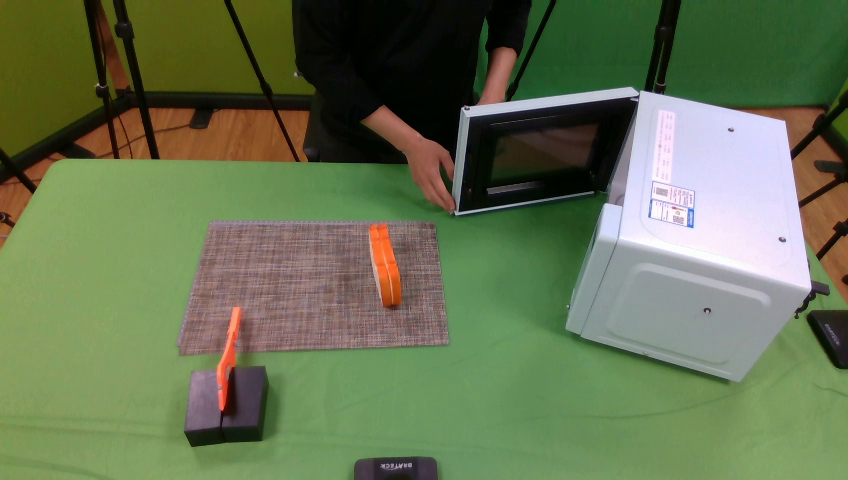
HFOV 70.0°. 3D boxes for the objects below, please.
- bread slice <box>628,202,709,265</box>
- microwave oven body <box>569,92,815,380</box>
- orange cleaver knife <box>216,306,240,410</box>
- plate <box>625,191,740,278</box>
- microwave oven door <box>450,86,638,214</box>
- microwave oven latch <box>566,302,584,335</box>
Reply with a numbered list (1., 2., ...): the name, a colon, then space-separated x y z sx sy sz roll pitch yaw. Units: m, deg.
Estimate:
1. bread slice: 0.476 -0.019 1.170 0.134 0.018 0.106 -31 58 -17
2. microwave oven body: 0.468 -0.022 1.082 0.325 0.261 0.440 15 46 11
3. orange cleaver knife: -0.307 0.180 0.957 0.012 0.077 0.210 -2 25 -8
4. plate: 0.484 -0.007 1.150 0.208 0.039 0.206 0 50 0
5. microwave oven door: 0.234 -0.177 1.208 0.356 0.245 0.039 -10 48 -13
6. microwave oven latch: 0.268 0.126 1.059 0.030 0.029 0.079 16 46 12
